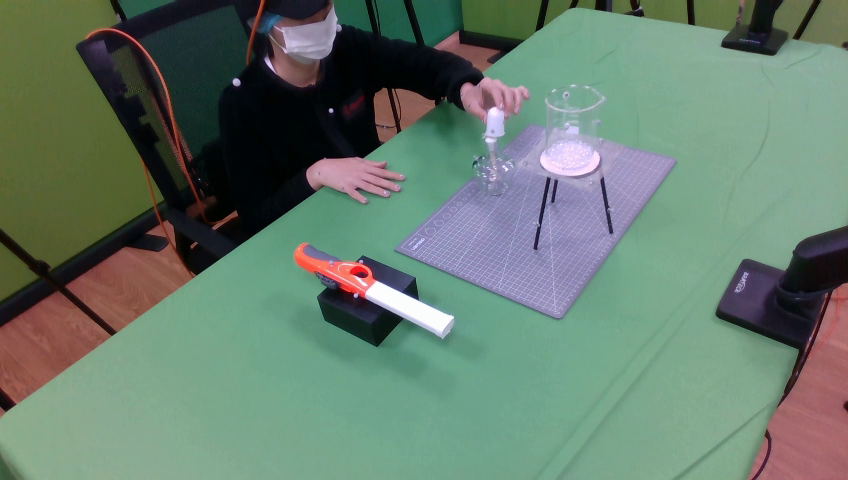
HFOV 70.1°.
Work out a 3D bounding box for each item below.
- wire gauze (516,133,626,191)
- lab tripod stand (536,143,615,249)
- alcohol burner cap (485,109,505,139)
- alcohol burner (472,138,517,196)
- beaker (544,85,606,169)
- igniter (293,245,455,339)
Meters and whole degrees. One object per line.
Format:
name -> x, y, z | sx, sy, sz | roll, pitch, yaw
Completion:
wire gauze -> 0.217, -0.122, 0.893 | 0.124, 0.011, 0.122 | 20, 47, 32
lab tripod stand -> 0.224, -0.069, 0.931 | 0.148, 0.132, 0.147 | -4, 42, 4
alcohol burner cap -> 0.118, -0.193, 1.000 | 0.034, 0.048, 0.033 | -1, 31, 1
alcohol burner -> 0.120, -0.136, 1.044 | 0.078, 0.119, 0.077 | -6, 39, 6
beaker -> 0.212, -0.158, 0.861 | 0.084, 0.101, 0.073 | -3, 41, 6
igniter -> -0.079, 0.066, 0.834 | 0.274, 0.025, 0.057 | 23, 48, 27
